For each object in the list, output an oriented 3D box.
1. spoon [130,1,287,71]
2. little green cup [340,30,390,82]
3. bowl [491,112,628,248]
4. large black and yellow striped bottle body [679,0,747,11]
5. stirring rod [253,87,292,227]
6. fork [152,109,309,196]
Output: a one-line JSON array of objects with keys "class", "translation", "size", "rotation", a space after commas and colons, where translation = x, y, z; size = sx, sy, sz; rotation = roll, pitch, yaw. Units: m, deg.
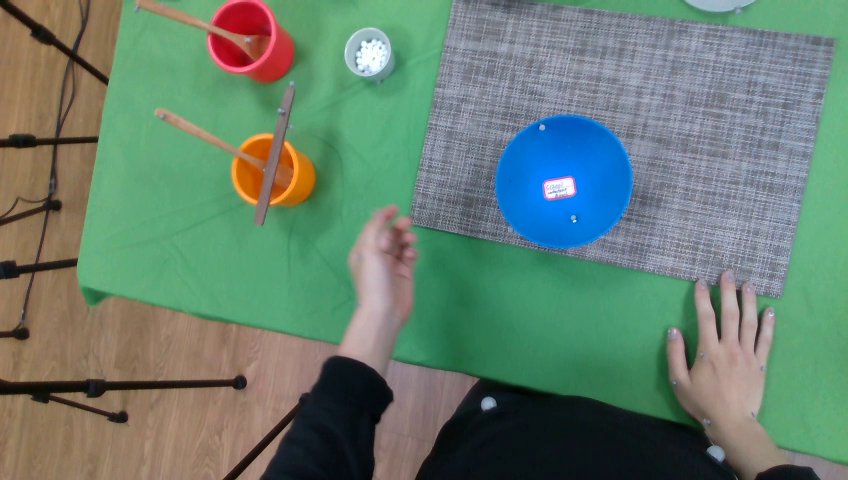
[{"class": "spoon", "translation": [-0.272, -0.266, 0.779], "size": [0.195, 0.021, 0.041], "rotation": [15, 95, -31]}, {"class": "little green cup", "translation": [-0.074, -0.237, 0.788], "size": [0.061, 0.039, 0.061], "rotation": [0, 89, 13]}, {"class": "bowl", "translation": [0.158, -0.065, 0.710], "size": [0.151, 0.077, 0.151], "rotation": [0, 89, 13]}, {"class": "large black and yellow striped bottle body", "translation": [0.325, -0.336, 0.629], "size": [0.130, 0.184, 0.130], "rotation": [0, 88, 13]}, {"class": "stirring rod", "translation": [-0.188, -0.102, 0.751], "size": [0.014, 0.006, 0.176], "rotation": [13, 92, 13]}, {"class": "fork", "translation": [-0.240, -0.109, 0.765], "size": [0.209, 0.018, 0.028], "rotation": [27, 99, -32]}]
